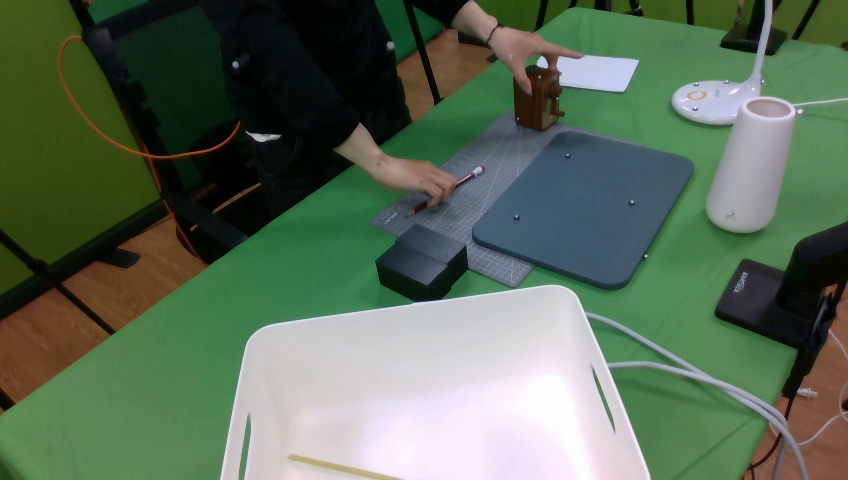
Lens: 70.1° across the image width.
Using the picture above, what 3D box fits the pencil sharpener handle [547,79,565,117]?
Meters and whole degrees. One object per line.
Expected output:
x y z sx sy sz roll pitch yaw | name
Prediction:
0.258 -0.271 1.157 0.030 0.068 0.036 27 44 37 | pencil sharpener handle

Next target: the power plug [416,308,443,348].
0.005 0.121 0.787 0.035 0.053 0.072 2 46 8 | power plug

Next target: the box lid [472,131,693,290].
0.273 -0.068 1.020 0.261 0.015 0.372 20 47 28 | box lid

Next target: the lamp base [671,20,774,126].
0.581 -0.332 1.154 0.179 0.181 0.160 2 42 7 | lamp base

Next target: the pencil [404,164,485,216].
0.039 -0.089 1.076 0.195 0.012 0.012 -33 47 -27 | pencil

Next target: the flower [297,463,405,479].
0.016 0.270 0.653 0.360 0.038 0.044 3 26 18 | flower

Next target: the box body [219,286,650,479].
0.006 0.210 0.618 0.364 0.161 0.252 -8 40 -1 | box body

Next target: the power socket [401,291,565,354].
0.080 0.111 0.823 0.227 0.033 0.072 -5 41 1 | power socket

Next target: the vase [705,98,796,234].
0.480 -0.104 0.889 0.098 0.201 0.097 -4 42 4 | vase

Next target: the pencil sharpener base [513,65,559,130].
0.225 -0.280 1.196 0.076 0.107 0.061 27 51 37 | pencil sharpener base
